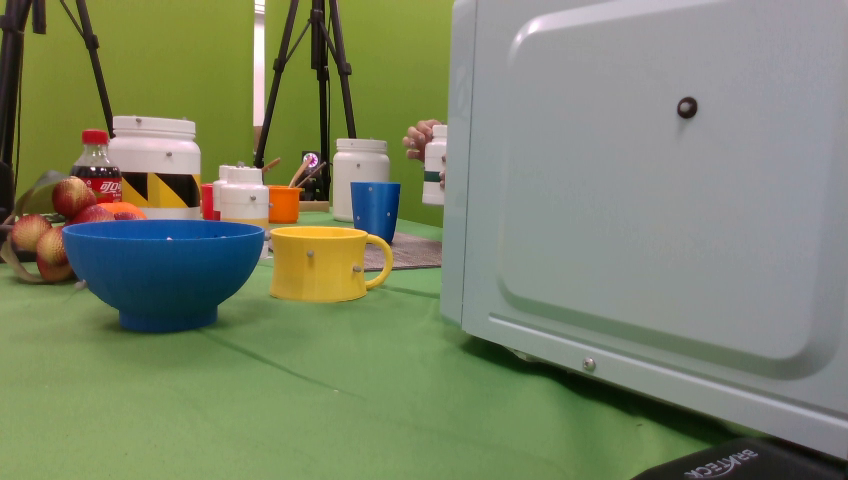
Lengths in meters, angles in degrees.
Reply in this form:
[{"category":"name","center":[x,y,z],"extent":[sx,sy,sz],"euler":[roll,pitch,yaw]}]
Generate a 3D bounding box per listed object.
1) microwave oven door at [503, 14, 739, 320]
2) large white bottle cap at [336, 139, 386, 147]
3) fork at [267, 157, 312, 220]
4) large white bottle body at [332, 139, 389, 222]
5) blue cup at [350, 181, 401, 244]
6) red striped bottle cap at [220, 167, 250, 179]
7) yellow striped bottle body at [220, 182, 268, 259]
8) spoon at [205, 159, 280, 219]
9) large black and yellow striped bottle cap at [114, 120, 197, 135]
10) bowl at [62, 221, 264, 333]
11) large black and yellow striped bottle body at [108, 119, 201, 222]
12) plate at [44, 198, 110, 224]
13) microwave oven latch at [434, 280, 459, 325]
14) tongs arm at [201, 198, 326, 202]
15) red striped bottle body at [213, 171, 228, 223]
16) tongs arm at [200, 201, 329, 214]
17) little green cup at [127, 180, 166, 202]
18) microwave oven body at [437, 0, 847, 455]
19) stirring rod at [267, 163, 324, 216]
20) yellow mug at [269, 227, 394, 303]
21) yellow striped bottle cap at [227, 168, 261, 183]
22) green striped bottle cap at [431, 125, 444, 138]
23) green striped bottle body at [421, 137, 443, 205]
[{"category":"microwave oven door","center":[0.218,-0.065,0.600],"extent":[0.358,0.243,0.039],"euler":[-4,10,-41]},{"category":"large white bottle cap","center":[-0.143,-0.219,1.375],"extent":[0.115,0.018,0.115],"euler":[2,8,0]},{"category":"fork","center":[-0.289,-0.116,1.321],"extent":[0.028,0.019,0.207],"euler":[6,51,19]},{"category":"large white bottle body","center":[-0.145,-0.136,1.387],"extent":[0.131,0.184,0.130],"euler":[2,7,0]},{"category":"blue cup","center":[-0.082,-0.047,1.010],"extent":[0.093,0.100,0.092],"euler":[1,6,0]},{"category":"red striped bottle cap","center":[-0.281,-0.100,0.901],"extent":[0.044,0.017,0.044],"euler":[-1,5,0]},{"category":"yellow striped bottle body","center":[-0.246,-0.036,0.825],"extent":[0.063,0.120,0.063],"euler":[3,8,0]},{"category":"spoon","center":[-0.365,-0.103,1.214],"extent":[0.193,0.021,0.041],"euler":[-42,4,6]},{"category":"large black and yellow striped bottle cap","center":[-0.407,-0.171,0.920],"extent":[0.115,0.019,0.115],"euler":[2,9,0]},{"category":"bowl","center":[-0.209,0.029,0.496],"extent":[0.151,0.077,0.151],"euler":[2,6,0]},{"category":"large black and yellow striped bottle body","center":[-0.412,-0.088,0.930],"extent":[0.131,0.184,0.130],"euler":[3,7,0]},{"category":"plate","center":[-0.617,-0.056,1.179],"extent":[0.209,0.038,0.209],"euler":[3,7,0]},{"category":"microwave oven latch","center":[0.044,0.045,0.470],"extent":[0.079,0.029,0.030],"euler":[-2,8,-39]},{"category":"tongs arm","center":[-0.433,-0.089,1.507],"extent":[0.390,0.028,0.028],"euler":[-1,2,-29]},{"category":"red striped bottle body","center":[-0.284,-0.048,0.909],"extent":[0.063,0.119,0.063],"euler":[3,12,0]},{"category":"tongs arm","center":[-0.378,-0.079,1.440],"extent":[0.387,0.026,0.050],"euler":[-4,7,-44]},{"category":"little green cup","center":[-0.485,-0.086,1.061],"extent":[0.061,0.038,0.061],"euler":[1,7,0]},{"category":"microwave oven body","center":[0.279,-0.040,0.465],"extent":[0.444,0.260,0.324],"euler":[-3,9,-41]},{"category":"stirring rod","center":[-0.278,-0.105,1.294],"extent":[0.176,0.006,0.014],"euler":[-47,25,-18]},{"category":"yellow mug","center":[-0.094,0.023,0.629],"extent":[0.131,0.064,0.099],"euler":[0,7,-22]},{"category":"yellow striped bottle cap","center":[-0.243,-0.087,0.818],"extent":[0.044,0.018,0.044],"euler":[3,6,0]},{"category":"green striped bottle cap","center":[0.034,-0.172,0.957],"extent":[0.044,0.020,0.044],"euler":[0,10,0]},{"category":"green striped bottle body","center":[0.030,-0.115,0.963],"extent":[0.063,0.119,0.063],"euler":[4,5,0]}]
